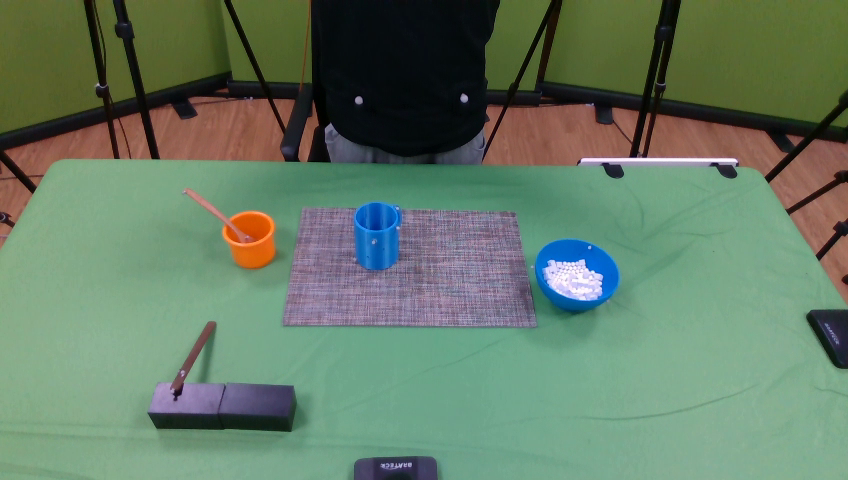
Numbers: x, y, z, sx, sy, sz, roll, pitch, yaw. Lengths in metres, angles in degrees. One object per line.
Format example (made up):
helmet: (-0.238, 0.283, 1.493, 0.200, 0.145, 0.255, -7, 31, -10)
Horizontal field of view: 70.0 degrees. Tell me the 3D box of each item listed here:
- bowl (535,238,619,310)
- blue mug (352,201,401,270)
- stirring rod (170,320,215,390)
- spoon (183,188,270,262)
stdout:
bowl: (0.270, 0.076, 1.107, 0.151, 0.077, 0.150, 2, 46, -2)
blue mug: (-0.082, -0.017, 1.144, 0.082, 0.106, 0.116, 30, 51, 22)
stirring rod: (-0.368, 0.180, 0.969, 0.014, 0.006, 0.175, 0, 27, 0)
spoon: (-0.360, -0.029, 1.110, 0.021, 0.194, 0.041, -21, 31, 41)
